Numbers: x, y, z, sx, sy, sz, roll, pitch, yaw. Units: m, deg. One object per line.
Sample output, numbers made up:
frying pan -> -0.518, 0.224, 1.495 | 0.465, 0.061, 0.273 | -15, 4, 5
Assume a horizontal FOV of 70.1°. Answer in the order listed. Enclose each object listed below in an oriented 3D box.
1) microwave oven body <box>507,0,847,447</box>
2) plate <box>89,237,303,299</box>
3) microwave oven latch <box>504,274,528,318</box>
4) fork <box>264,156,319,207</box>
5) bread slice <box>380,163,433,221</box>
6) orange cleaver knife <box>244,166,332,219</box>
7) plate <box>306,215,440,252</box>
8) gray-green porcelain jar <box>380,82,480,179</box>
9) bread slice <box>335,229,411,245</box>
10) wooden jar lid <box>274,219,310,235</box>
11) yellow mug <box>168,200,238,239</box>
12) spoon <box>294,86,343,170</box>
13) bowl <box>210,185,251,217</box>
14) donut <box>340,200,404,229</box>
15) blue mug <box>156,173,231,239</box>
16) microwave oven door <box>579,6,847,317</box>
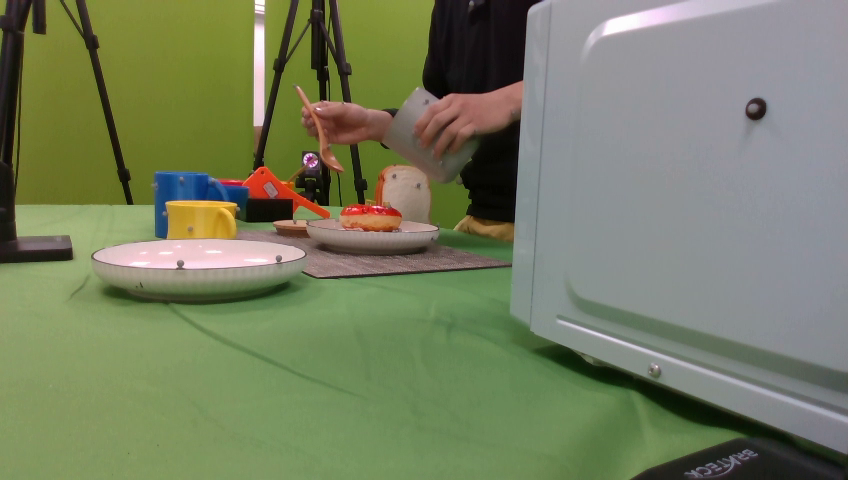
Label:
microwave oven body -> 0.331, -0.042, 0.425 | 0.444, 0.260, 0.324 | -2, 8, -31
plate -> -0.233, 0.029, 0.637 | 0.208, 0.039, 0.207 | 2, 7, 0
microwave oven latch -> 0.100, 0.041, 0.471 | 0.079, 0.029, 0.030 | -1, 8, -28
fork -> -0.331, -0.144, 1.506 | 0.207, 0.018, 0.028 | -42, -20, 22
bread slice -> -0.035, -0.076, 1.125 | 0.107, 0.134, 0.018 | -4, 2, -25
orange cleaver knife -> -0.301, -0.089, 1.351 | 0.212, 0.077, 0.012 | 32, -11, -34
plate -> -0.079, -0.011, 0.950 | 0.209, 0.038, 0.209 | 2, 8, 0
gray-green porcelain jar -> 0.014, -0.163, 0.930 | 0.126, 0.106, 0.106 | 35, 8, -1
bread slice -> -0.074, -0.006, 0.938 | 0.105, 0.019, 0.131 | -1, 5, -19
wooden jar lid -> -0.213, -0.023, 1.081 | 0.108, 0.020, 0.108 | 3, 7, 0
yellow mug -> -0.320, -0.023, 0.904 | 0.130, 0.064, 0.100 | 9, 10, 36
spoon -> -0.183, -0.194, 1.034 | 0.021, 0.193, 0.042 | -36, -24, 26
bowl -> -0.408, -0.064, 1.155 | 0.151, 0.077, 0.151 | 2, 8, 0
donut -> -0.081, -0.038, 0.944 | 0.099, 0.048, 0.099 | 1, 4, 0
blue mug -> -0.381, -0.057, 1.004 | 0.117, 0.106, 0.082 | 0, 8, -12
microwave oven door -> 0.294, -0.067, 0.570 | 0.358, 0.243, 0.039 | -3, 9, -31
